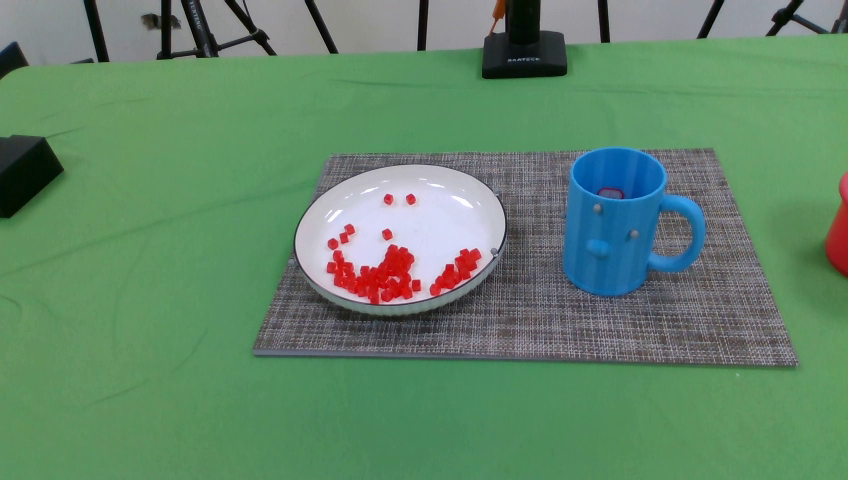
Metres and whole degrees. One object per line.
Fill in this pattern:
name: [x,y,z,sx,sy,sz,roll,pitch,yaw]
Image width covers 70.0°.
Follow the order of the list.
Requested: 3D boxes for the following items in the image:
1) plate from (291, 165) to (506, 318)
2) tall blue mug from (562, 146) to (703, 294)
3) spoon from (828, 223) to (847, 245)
plate: [-0.023,0.000,0.593,0.207,0.039,0.205,-4,42,4]
tall blue mug: [0.178,-0.017,0.531,0.107,0.109,0.077,-4,41,3]
spoon: [0.429,-0.023,0.484,0.041,0.193,0.021,-34,94,-32]
